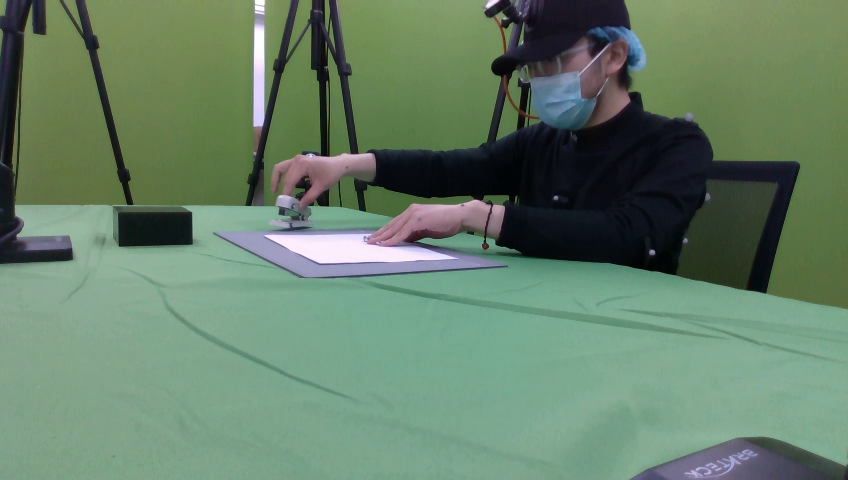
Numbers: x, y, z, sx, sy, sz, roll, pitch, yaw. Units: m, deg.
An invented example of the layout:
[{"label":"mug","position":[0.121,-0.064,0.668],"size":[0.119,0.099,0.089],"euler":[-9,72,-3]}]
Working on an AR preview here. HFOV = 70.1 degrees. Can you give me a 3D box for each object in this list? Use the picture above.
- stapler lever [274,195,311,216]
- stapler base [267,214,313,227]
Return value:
[{"label":"stapler lever","position":[-0.253,-0.066,1.173],"size":[0.027,0.040,0.118],"euler":[12,5,13]},{"label":"stapler base","position":[-0.257,-0.041,1.173],"size":[0.041,0.024,0.131],"euler":[12,5,13]}]
